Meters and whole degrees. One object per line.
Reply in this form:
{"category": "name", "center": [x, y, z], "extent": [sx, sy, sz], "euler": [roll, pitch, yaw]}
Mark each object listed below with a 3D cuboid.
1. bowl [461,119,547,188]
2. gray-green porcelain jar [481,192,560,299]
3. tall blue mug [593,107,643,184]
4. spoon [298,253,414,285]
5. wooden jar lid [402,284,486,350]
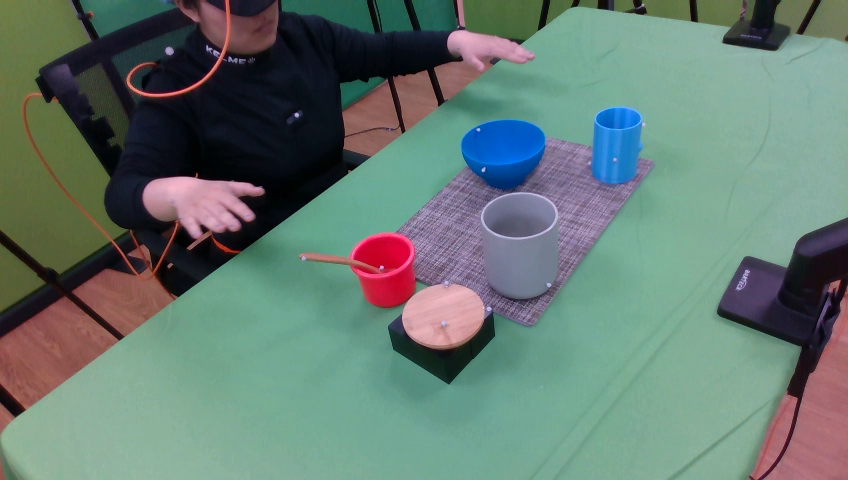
{"category": "bowl", "center": [0.145, -0.145, 1.081], "extent": [0.151, 0.077, 0.150], "euler": [-5, 40, 5]}
{"category": "gray-green porcelain jar", "center": [0.138, 0.012, 0.858], "extent": [0.106, 0.127, 0.105], "euler": [-6, 40, 5]}
{"category": "tall blue mug", "center": [0.330, -0.172, 1.052], "extent": [0.078, 0.108, 0.106], "euler": [-12, 40, 0]}
{"category": "spoon", "center": [-0.093, 0.038, 0.866], "extent": [0.195, 0.021, 0.041], "euler": [19, 24, -40]}
{"category": "wooden jar lid", "center": [0.026, 0.101, 0.786], "extent": [0.108, 0.021, 0.108], "euler": [-5, 39, 4]}
